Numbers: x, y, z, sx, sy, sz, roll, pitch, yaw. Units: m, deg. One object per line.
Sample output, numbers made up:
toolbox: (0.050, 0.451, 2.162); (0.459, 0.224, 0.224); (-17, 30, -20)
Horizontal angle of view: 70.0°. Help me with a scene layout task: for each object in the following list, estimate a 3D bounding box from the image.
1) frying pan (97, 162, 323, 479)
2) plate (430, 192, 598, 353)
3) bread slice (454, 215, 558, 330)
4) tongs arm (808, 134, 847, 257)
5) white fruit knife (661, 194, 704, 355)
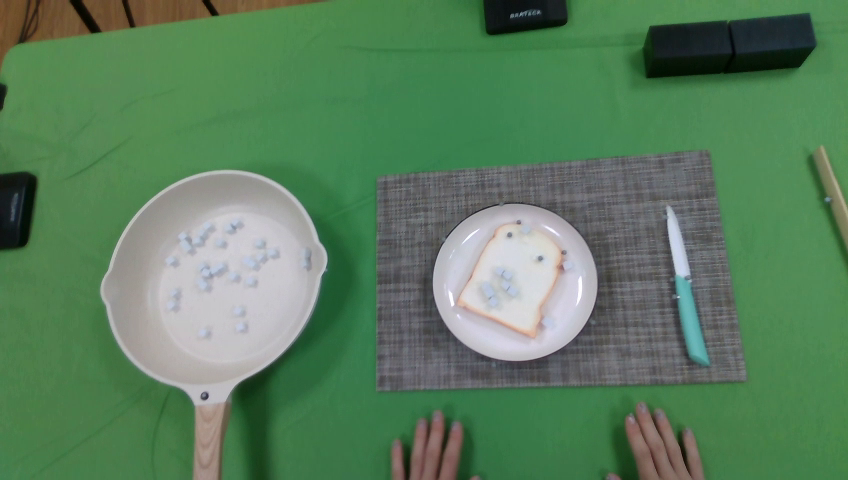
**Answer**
frying pan: (-0.268, 0.136, 0.767); (0.306, 0.103, 0.483); (-7, 65, 7)
plate: (0.113, 0.042, 0.772); (0.207, 0.039, 0.206); (-2, 74, 8)
bread slice: (0.110, 0.035, 0.776); (0.106, 0.018, 0.134); (20, 80, 12)
tongs arm: (0.535, 0.049, 0.720); (0.028, 0.028, 0.385); (-12, 74, 2)
white fruit knife: (0.317, 0.039, 0.756); (0.027, 0.016, 0.206); (3, 71, -21)
